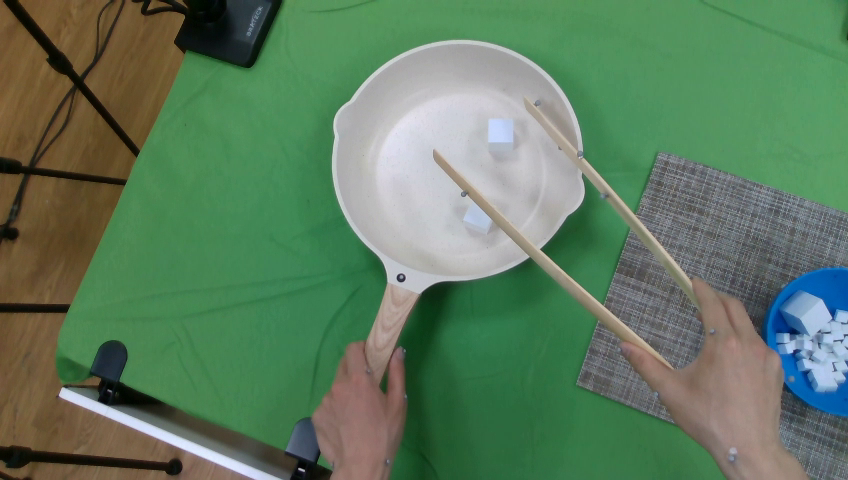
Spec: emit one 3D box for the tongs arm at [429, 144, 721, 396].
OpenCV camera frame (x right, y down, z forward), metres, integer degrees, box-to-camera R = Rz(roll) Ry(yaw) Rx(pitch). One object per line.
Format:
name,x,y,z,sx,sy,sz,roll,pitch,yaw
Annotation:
tongs arm,0.122,0.013,0.601,0.028,0.028,0.383,-34,57,-15

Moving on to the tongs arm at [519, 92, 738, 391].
tongs arm,0.181,-0.023,0.609,0.051,0.027,0.380,-28,56,-6

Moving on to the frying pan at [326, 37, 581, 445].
frying pan,-0.005,-0.004,0.699,0.306,0.103,0.486,21,74,10

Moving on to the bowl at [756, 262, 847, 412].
bowl,0.423,0.104,0.646,0.151,0.077,0.150,-1,79,5
